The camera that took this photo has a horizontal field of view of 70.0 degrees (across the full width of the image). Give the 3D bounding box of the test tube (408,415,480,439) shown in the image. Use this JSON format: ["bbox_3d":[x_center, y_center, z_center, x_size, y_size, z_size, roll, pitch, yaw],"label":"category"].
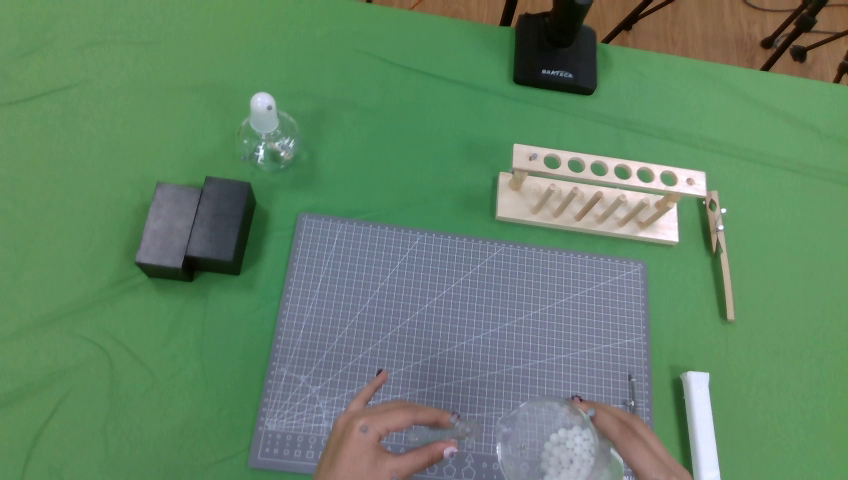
[{"bbox_3d":[0.013,0.167,0.537,0.017,0.150,0.017,6,69,-18],"label":"test tube"}]

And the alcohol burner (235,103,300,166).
[{"bbox_3d":[-0.189,-0.140,0.726,0.078,0.120,0.077,2,67,-5],"label":"alcohol burner"}]

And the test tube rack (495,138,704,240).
[{"bbox_3d":[0.219,-0.062,0.769,0.243,0.085,0.066,8,68,-5],"label":"test tube rack"}]

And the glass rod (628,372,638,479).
[{"bbox_3d":[0.240,0.250,0.692,0.008,0.008,0.198,7,68,-5],"label":"glass rod"}]

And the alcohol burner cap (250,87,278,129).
[{"bbox_3d":[-0.184,-0.154,0.693,0.034,0.048,0.033,6,63,-11],"label":"alcohol burner cap"}]

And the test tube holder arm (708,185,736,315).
[{"bbox_3d":[0.393,0.011,0.800,0.013,0.015,0.177,-12,67,26],"label":"test tube holder arm"}]

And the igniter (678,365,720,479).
[{"bbox_3d":[0.318,0.281,0.685,0.057,0.025,0.274,9,68,-15],"label":"igniter"}]

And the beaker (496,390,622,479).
[{"bbox_3d":[0.107,0.164,0.471,0.083,0.101,0.074,18,74,37],"label":"beaker"}]

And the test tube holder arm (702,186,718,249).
[{"bbox_3d":[0.387,-0.030,0.818,0.010,0.015,0.087,-11,68,27],"label":"test tube holder arm"}]
